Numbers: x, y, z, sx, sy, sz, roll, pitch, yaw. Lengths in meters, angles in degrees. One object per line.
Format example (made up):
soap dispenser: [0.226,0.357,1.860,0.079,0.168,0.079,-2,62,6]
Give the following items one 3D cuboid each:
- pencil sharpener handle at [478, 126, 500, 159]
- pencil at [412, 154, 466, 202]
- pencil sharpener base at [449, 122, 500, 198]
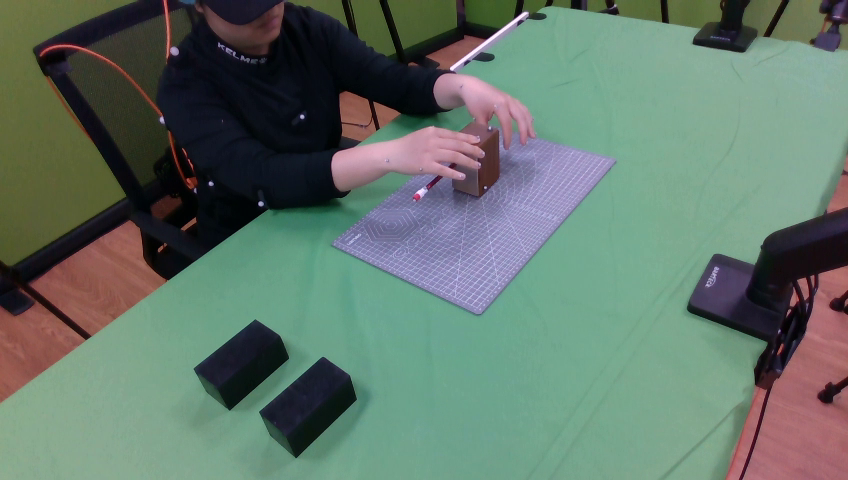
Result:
pencil sharpener handle: [0.120,-0.178,1.074,0.035,0.068,0.031,17,45,32]
pencil: [0.041,-0.116,0.986,0.012,0.012,0.194,21,46,30]
pencil sharpener base: [0.091,-0.140,1.052,0.061,0.107,0.077,21,47,29]
